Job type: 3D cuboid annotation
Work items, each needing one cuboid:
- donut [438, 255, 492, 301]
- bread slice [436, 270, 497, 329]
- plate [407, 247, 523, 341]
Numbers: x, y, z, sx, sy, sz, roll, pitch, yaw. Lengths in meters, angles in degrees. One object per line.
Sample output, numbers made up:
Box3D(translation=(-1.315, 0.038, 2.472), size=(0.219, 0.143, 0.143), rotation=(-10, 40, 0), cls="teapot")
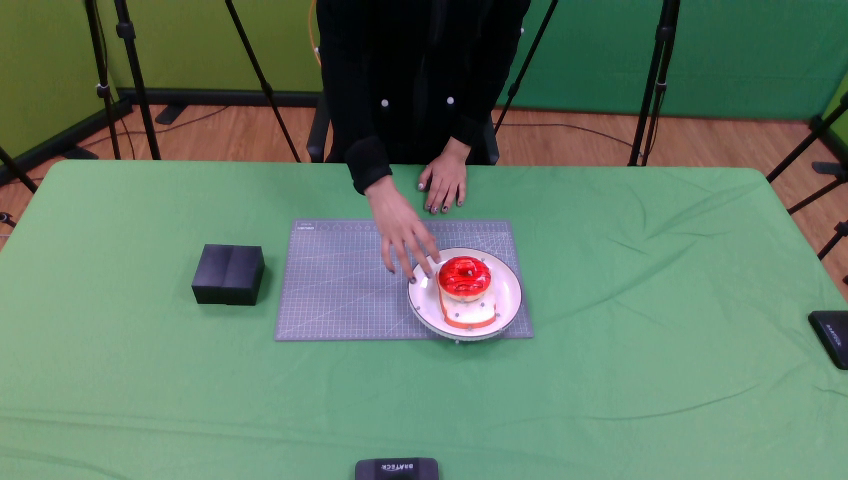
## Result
Box3D(translation=(0.074, 0.067, 1.086), size=(0.099, 0.048, 0.098), rotation=(0, 43, 1), cls="donut")
Box3D(translation=(0.081, 0.102, 1.091), size=(0.105, 0.019, 0.130), rotation=(-3, 47, -5), cls="bread slice")
Box3D(translation=(0.073, 0.099, 1.093), size=(0.209, 0.038, 0.208), rotation=(2, 46, -2), cls="plate")
